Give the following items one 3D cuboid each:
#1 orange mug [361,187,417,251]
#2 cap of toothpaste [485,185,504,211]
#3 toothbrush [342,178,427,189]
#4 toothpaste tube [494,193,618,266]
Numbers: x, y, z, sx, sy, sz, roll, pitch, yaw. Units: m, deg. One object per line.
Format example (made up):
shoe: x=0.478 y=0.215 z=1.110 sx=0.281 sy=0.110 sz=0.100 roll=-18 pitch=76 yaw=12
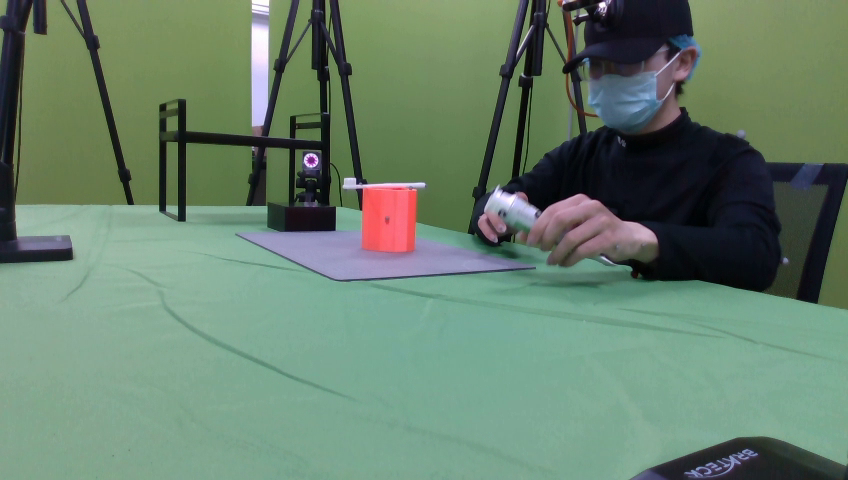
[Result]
orange mug: x=-0.054 y=-0.039 z=0.962 sx=0.083 sy=0.101 sz=0.126 roll=2 pitch=12 yaw=1
cap of toothpaste: x=0.087 y=-0.050 z=0.737 sx=0.011 sy=0.037 sz=0.037 roll=26 pitch=6 yaw=-4
toothbrush: x=-0.058 y=-0.089 z=0.948 sx=0.014 sy=0.016 sz=0.183 roll=5 pitch=8 yaw=41
toothpaste tube: x=0.157 y=-0.010 z=0.734 sx=0.165 sy=0.034 sz=0.055 roll=29 pitch=7 yaw=1
